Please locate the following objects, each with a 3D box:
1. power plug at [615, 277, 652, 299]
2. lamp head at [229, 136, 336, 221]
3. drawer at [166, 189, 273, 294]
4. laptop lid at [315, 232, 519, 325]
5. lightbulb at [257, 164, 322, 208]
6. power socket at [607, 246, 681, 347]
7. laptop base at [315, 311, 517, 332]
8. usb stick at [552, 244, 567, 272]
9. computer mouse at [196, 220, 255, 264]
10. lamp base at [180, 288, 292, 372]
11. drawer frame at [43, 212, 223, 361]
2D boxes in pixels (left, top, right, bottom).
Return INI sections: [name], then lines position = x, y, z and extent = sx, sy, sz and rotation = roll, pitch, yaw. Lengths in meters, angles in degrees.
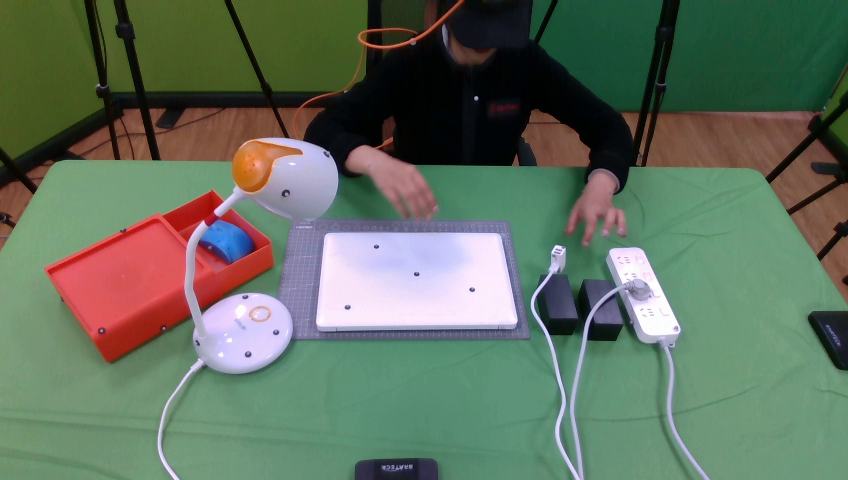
[power plug]
position = 0.375, 0.088, 1.097
extent = 0.072, 0.053, 0.035
rotation = 6, 46, 2
[lamp head]
position = -0.196, -0.085, 0.791
extent = 0.112, 0.112, 0.123
rotation = 36, 14, 27
[drawer]
position = -0.419, 0.021, 1.108
extent = 0.193, 0.073, 0.211
rotation = 37, 55, 27
[laptop lid]
position = -0.015, 0.065, 1.118
extent = 0.357, 0.013, 0.240
rotation = 1, 43, -3
[lightbulb]
position = -0.181, -0.077, 0.810
extent = 0.059, 0.059, 0.108
rotation = 36, 11, 27
[power socket]
position = 0.403, 0.096, 1.123
extent = 0.072, 0.033, 0.225
rotation = -3, 47, -5
[laptop base]
position = -0.016, 0.075, 1.125
extent = 0.355, 0.023, 0.234
rotation = 0, 42, -4
[usb stick]
position = 0.251, 0.039, 1.124
extent = 0.021, 0.059, 0.027
rotation = 13, 47, 24
[computer mouse]
position = -0.380, -0.002, 1.152
extent = 0.116, 0.041, 0.062
rotation = 28, 53, 28
[lamp base]
position = -0.309, 0.108, 0.959
extent = 0.160, 0.181, 0.179
rotation = 29, 55, 22
[drawer frame]
position = -0.497, 0.073, 1.049
extent = 0.213, 0.083, 0.200
rotation = -34, 57, -31
